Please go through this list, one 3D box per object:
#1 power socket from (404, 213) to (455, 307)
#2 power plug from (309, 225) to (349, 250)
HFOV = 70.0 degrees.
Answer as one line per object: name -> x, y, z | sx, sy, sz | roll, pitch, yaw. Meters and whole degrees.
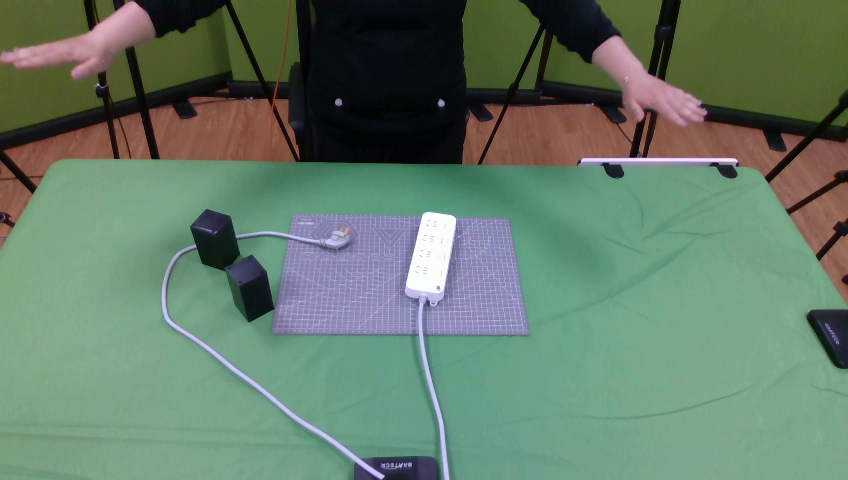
power socket -> 0.013, 0.029, 1.159 | 0.072, 0.033, 0.225 | 8, 46, 5
power plug -> -0.182, -0.010, 1.175 | 0.072, 0.035, 0.052 | 20, 65, 0
